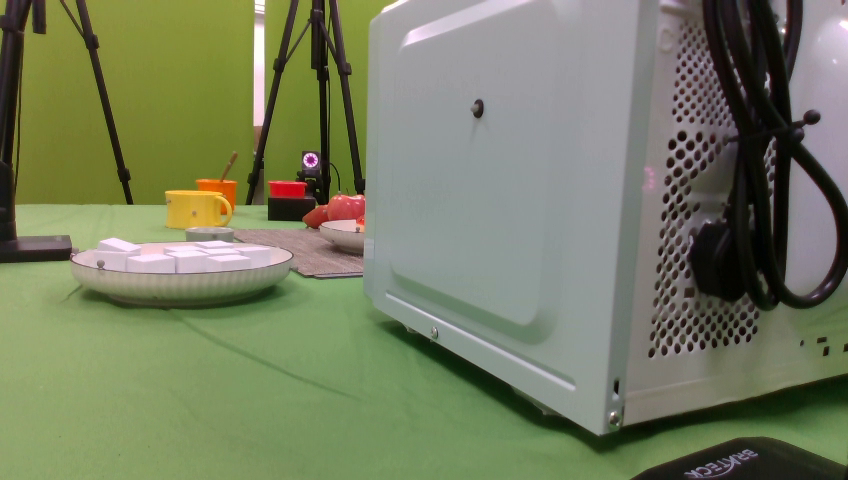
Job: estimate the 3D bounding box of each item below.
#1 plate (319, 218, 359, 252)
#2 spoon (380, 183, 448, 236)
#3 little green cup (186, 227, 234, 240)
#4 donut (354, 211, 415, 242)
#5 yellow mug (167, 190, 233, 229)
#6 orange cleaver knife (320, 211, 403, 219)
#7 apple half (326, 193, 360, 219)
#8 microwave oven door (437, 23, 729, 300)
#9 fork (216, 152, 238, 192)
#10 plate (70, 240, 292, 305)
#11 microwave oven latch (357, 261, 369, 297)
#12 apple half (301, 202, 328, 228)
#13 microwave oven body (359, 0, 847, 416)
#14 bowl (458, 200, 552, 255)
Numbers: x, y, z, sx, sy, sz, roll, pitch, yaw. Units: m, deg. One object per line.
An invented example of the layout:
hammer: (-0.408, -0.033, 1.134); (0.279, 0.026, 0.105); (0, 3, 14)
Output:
plate: (-0.059, -0.007, 0.939); (0.209, 0.038, 0.209); (3, 8, 0)
spoon: (-0.022, -0.065, 1.151); (0.193, 0.041, 0.022); (36, 21, 31)
little green cup: (-0.284, 0.005, 0.805); (0.061, 0.038, 0.061); (2, 8, 0)
donut: (-0.062, -0.020, 0.955); (0.099, 0.048, 0.099); (5, 7, 0)
yellow mug: (-0.415, -0.057, 1.132); (0.130, 0.064, 0.100); (6, 8, 16)
orange cleaver knife: (-0.142, -0.057, 1.395); (0.077, 0.012, 0.212); (3, 7, 44)
apple half: (-0.135, -0.047, 1.090); (0.081, 0.074, 0.053); (5, 10, -12)
microwave oven door: (0.181, -0.072, 0.621); (0.358, 0.243, 0.039); (-2, 9, -29)
fork: (-0.455, -0.132, 1.367); (0.028, 0.018, 0.207); (-2, -35, -37)
plate: (-0.242, 0.031, 0.618); (0.208, 0.039, 0.207); (2, 8, 0)
microwave oven latch: (-0.019, 0.033, 0.531); (0.079, 0.029, 0.030); (-1, 7, -28)
apple half: (-0.194, -0.043, 1.173); (0.081, 0.032, 0.081); (-21, -15, -6)
microwave oven body: (0.211, -0.047, 0.474); (0.444, 0.260, 0.324); (-1, 7, -28)
bowl: (0.128, -0.020, 0.977); (0.151, 0.077, 0.151); (2, 8, 0)
